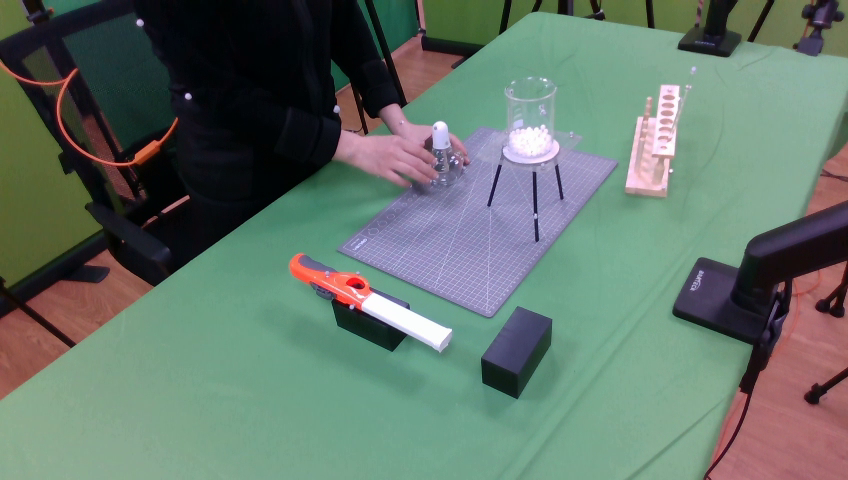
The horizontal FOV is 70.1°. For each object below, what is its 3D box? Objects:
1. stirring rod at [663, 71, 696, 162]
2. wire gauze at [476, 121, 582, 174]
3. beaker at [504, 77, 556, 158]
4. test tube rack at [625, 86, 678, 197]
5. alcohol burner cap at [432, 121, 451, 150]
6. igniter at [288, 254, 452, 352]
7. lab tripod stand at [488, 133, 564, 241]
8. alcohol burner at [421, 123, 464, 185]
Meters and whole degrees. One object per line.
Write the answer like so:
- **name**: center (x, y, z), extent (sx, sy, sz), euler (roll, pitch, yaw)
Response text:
- **stirring rod**: center (0.410, -0.196, 0.981), extent (0.014, 0.177, 0.006), euler (11, 50, 13)
- **wire gauze**: center (0.162, -0.142, 0.929), extent (0.120, 0.011, 0.125), euler (19, 49, 32)
- **beaker**: center (0.160, -0.181, 0.900), extent (0.084, 0.101, 0.073), euler (-33, 46, -27)
- **test tube rack**: center (0.412, -0.184, 1.088), extent (0.066, 0.085, 0.242), euler (9, 43, 18)
- **alcohol burner cap**: center (0.029, -0.185, 1.060), extent (0.034, 0.048, 0.033), euler (-4, 37, 4)
- **igniter**: center (-0.083, 0.079, 0.818), extent (0.274, 0.025, 0.057), euler (23, 46, 27)
- **lab tripod stand**: center (0.168, -0.092, 0.972), extent (0.148, 0.132, 0.147), euler (-5, 41, 5)
- **alcohol burner**: center (0.032, -0.158, 1.084), extent (0.078, 0.119, 0.077), euler (-5, 42, 5)
